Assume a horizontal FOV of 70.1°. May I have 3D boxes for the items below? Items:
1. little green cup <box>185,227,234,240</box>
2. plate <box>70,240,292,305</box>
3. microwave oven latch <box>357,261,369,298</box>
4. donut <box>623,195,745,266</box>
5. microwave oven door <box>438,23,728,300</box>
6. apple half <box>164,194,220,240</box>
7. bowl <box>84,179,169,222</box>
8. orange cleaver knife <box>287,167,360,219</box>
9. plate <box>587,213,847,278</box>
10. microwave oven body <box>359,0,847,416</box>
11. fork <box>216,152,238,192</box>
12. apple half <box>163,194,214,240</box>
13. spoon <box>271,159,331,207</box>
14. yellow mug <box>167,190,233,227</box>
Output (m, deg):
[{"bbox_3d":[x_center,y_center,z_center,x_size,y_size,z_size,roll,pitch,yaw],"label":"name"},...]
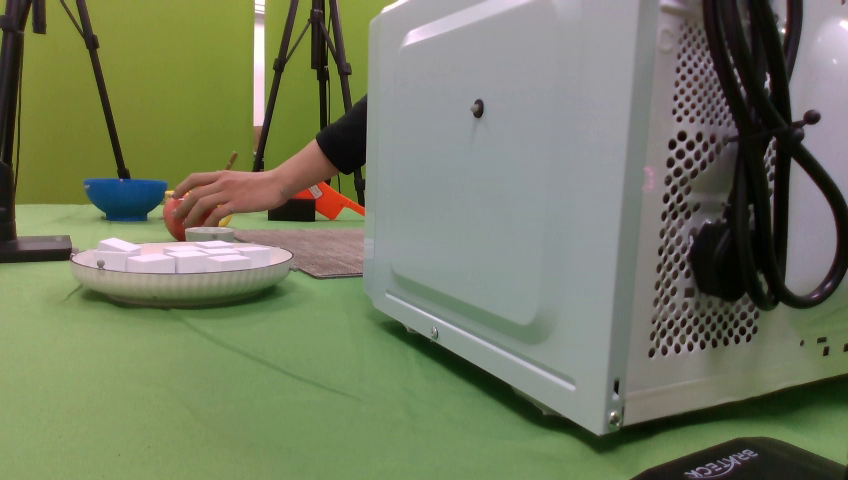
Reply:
[{"bbox_3d":[-0.285,0.005,0.805,0.061,0.038,0.061,2,8,0],"label":"little green cup"},{"bbox_3d":[-0.242,0.031,0.618,0.208,0.039,0.207,2,8,0],"label":"plate"},{"bbox_3d":[-0.019,0.033,0.529,0.079,0.029,0.030,0,7,-25],"label":"microwave oven latch"},{"bbox_3d":[0.221,-0.007,0.518,0.099,0.048,0.099,21,0,0],"label":"donut"},{"bbox_3d":[0.181,-0.072,0.621,0.358,0.243,0.039,-2,8,-29],"label":"microwave oven door"},{"bbox_3d":[-0.353,-0.032,0.934,0.081,0.074,0.053,-3,13,-39],"label":"apple half"},{"bbox_3d":[-0.584,-0.078,1.194,0.151,0.077,0.151,3,8,0],"label":"bowl"},{"bbox_3d":[-0.210,-0.089,1.383,0.212,0.077,0.012,31,4,-15],"label":"orange cleaver knife"},{"bbox_3d":[0.244,0.002,0.512,0.209,0.038,0.209,2,7,0],"label":"plate"},{"bbox_3d":[0.211,-0.047,0.474,0.444,0.260,0.324,-1,7,-28],"label":"microwave oven body"},{"bbox_3d":[-0.455,-0.132,1.366,0.028,0.018,0.207,-2,-35,-37],"label":"fork"},{"bbox_3d":[-0.379,-0.038,0.963,0.082,0.081,0.032,-4,13,-39],"label":"apple half"},{"bbox_3d":[-0.307,-0.141,1.513,0.193,0.021,0.041,-41,4,8],"label":"spoon"},{"bbox_3d":[-0.415,-0.057,1.132,0.130,0.064,0.100,6,8,16],"label":"yellow mug"}]
